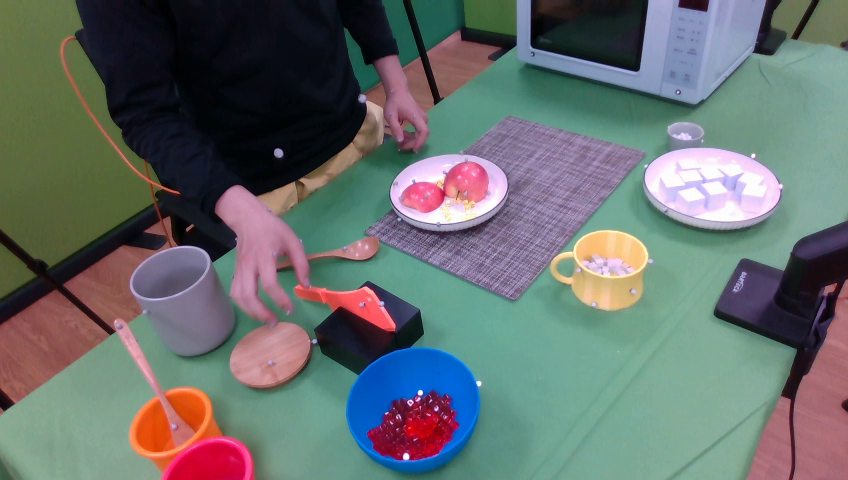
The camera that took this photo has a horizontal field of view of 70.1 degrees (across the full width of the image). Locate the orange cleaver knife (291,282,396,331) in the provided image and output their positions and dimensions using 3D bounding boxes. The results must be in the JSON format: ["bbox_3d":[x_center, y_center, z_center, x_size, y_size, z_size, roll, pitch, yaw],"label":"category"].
[{"bbox_3d":[-0.115,0.091,0.835,0.209,0.077,0.012,1,34,48],"label":"orange cleaver knife"}]

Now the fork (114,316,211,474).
[{"bbox_3d":[-0.309,0.179,0.708,0.028,0.018,0.207,-30,89,-23],"label":"fork"}]

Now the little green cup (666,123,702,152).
[{"bbox_3d":[0.472,-0.183,1.102,0.061,0.039,0.061,-5,41,5],"label":"little green cup"}]

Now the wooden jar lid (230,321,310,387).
[{"bbox_3d":[-0.207,0.156,0.821,0.108,0.021,0.108,-3,40,3],"label":"wooden jar lid"}]

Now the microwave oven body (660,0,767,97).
[{"bbox_3d":[0.473,-0.517,1.314,0.438,0.261,0.327,26,51,34],"label":"microwave oven body"}]

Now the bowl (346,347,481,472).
[{"bbox_3d":[-0.008,0.205,0.691,0.151,0.077,0.150,-4,40,4],"label":"bowl"}]

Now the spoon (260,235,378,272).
[{"bbox_3d":[-0.168,0.024,0.966,0.194,0.022,0.041,-10,58,-3],"label":"spoon"}]

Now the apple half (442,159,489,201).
[{"bbox_3d":[0.074,-0.110,1.047,0.080,0.053,0.075,21,46,30],"label":"apple half"}]

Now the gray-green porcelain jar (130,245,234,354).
[{"bbox_3d":[-0.328,0.087,0.836,0.106,0.127,0.105,-4,41,4],"label":"gray-green porcelain jar"}]

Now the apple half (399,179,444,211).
[{"bbox_3d":[-0.004,-0.088,1.045,0.081,0.033,0.081,-2,43,2],"label":"apple half"}]

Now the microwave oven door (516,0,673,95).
[{"bbox_3d":[0.344,-0.458,1.256,0.353,0.245,0.039,26,51,33],"label":"microwave oven door"}]

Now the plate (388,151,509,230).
[{"bbox_3d":[0.043,-0.082,1.042,0.209,0.038,0.208,-4,40,4],"label":"plate"}]

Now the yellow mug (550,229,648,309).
[{"bbox_3d":[0.245,0.040,0.857,0.130,0.064,0.099,1,41,11],"label":"yellow mug"}]

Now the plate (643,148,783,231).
[{"bbox_3d":[0.464,-0.080,0.986,0.207,0.039,0.206,-4,41,4],"label":"plate"}]

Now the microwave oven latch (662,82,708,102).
[{"bbox_3d":[0.517,-0.298,1.203,0.078,0.029,0.030,28,53,35],"label":"microwave oven latch"}]
